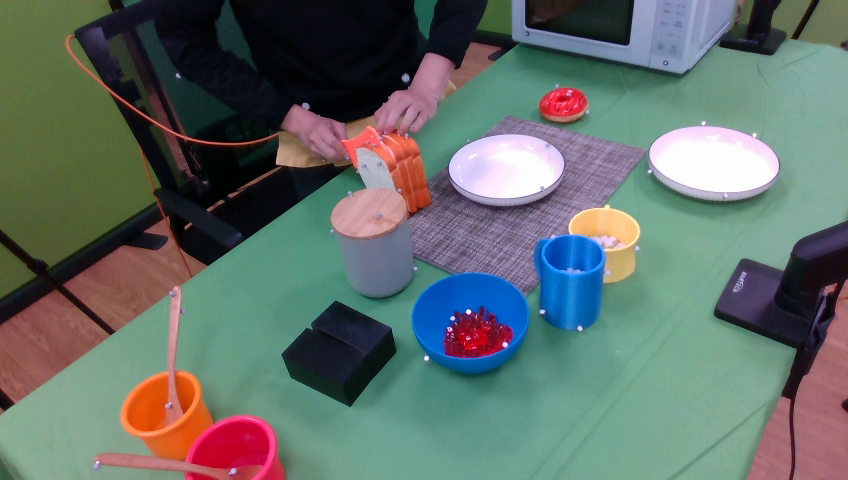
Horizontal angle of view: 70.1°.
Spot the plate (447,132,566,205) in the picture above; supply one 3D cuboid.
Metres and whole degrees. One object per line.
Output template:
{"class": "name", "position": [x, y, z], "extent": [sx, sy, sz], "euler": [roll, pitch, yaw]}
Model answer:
{"class": "plate", "position": [0.146, -0.124, 1.076], "extent": [0.209, 0.038, 0.208], "euler": [-3, 41, 3]}

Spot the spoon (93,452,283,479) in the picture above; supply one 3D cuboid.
{"class": "spoon", "position": [-0.240, 0.239, 0.632], "extent": [0.195, 0.021, 0.041], "euler": [26, 33, -32]}

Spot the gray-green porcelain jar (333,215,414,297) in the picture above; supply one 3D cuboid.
{"class": "gray-green porcelain jar", "position": [-0.071, 0.012, 0.887], "extent": [0.106, 0.127, 0.105], "euler": [-4, 41, 4]}

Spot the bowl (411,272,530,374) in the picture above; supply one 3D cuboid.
{"class": "bowl", "position": [0.061, 0.120, 0.780], "extent": [0.151, 0.077, 0.150], "euler": [-4, 40, 4]}

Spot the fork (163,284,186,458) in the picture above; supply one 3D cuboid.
{"class": "fork", "position": [-0.302, 0.157, 0.733], "extent": [0.028, 0.019, 0.207], "euler": [-3, 84, 15]}

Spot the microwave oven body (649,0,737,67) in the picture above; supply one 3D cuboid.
{"class": "microwave oven body", "position": [0.475, -0.602, 1.411], "extent": [0.438, 0.261, 0.327], "euler": [23, 50, 32]}

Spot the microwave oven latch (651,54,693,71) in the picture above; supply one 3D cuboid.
{"class": "microwave oven latch", "position": [0.531, -0.386, 1.301], "extent": [0.078, 0.029, 0.030], "euler": [26, 51, 33]}

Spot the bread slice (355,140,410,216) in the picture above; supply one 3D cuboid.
{"class": "bread slice", "position": [-0.075, -0.107, 1.021], "extent": [0.019, 0.132, 0.104], "euler": [-39, 46, -26]}

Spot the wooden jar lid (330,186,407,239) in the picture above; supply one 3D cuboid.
{"class": "wooden jar lid", "position": [-0.077, -0.035, 0.846], "extent": [0.108, 0.021, 0.108], "euler": [-5, 41, 5]}

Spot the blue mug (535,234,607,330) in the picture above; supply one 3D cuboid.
{"class": "blue mug", "position": [0.191, 0.048, 0.824], "extent": [0.082, 0.106, 0.115], "euler": [-26, 44, -20]}

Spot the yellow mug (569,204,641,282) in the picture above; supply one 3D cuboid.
{"class": "yellow mug", "position": [0.268, -0.005, 0.904], "extent": [0.099, 0.064, 0.130], "euler": [7, 41, 15]}

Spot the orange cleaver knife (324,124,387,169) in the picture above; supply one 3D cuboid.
{"class": "orange cleaver knife", "position": [-0.120, -0.157, 1.056], "extent": [0.012, 0.077, 0.209], "euler": [-31, 19, -28]}

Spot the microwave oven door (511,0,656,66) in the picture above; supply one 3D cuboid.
{"class": "microwave oven door", "position": [0.351, -0.539, 1.349], "extent": [0.353, 0.245, 0.039], "euler": [24, 50, 31]}

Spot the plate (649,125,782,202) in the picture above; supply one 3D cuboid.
{"class": "plate", "position": [0.493, -0.127, 1.036], "extent": [0.207, 0.039, 0.206], "euler": [-4, 40, 4]}

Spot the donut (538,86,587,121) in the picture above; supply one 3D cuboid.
{"class": "donut", "position": [0.283, -0.280, 1.239], "extent": [0.099, 0.048, 0.098], "euler": [-5, 42, 5]}

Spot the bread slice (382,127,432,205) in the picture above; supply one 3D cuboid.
{"class": "bread slice", "position": [-0.032, -0.130, 1.046], "extent": [0.018, 0.135, 0.106], "euler": [-32, 46, -25]}
